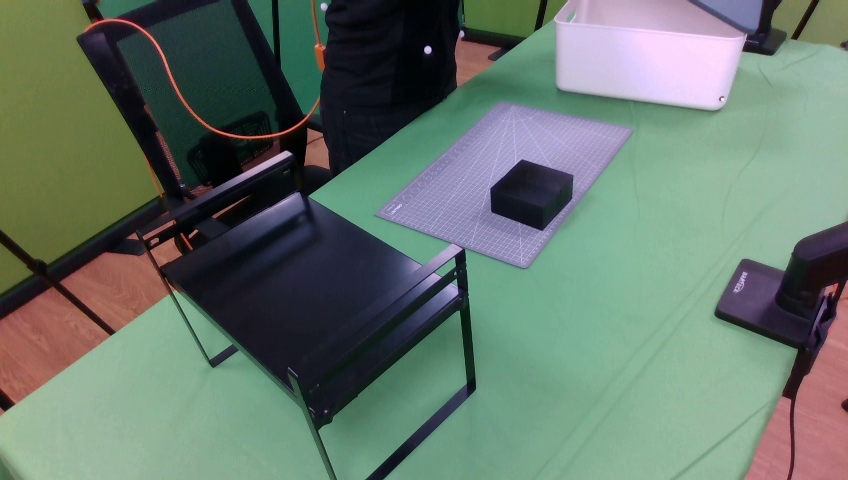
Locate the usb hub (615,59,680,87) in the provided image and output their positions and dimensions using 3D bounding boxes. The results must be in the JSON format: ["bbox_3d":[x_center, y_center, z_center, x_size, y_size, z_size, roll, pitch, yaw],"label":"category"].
[{"bbox_3d":[0.484,-0.363,1.311,0.124,0.025,0.049,21,46,27],"label":"usb hub"}]

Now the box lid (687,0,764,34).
[{"bbox_3d":[0.486,-0.536,1.162,0.371,0.015,0.263,31,49,2],"label":"box lid"}]

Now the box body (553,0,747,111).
[{"bbox_3d":[0.480,-0.417,1.281,0.362,0.161,0.254,15,46,24],"label":"box body"}]
